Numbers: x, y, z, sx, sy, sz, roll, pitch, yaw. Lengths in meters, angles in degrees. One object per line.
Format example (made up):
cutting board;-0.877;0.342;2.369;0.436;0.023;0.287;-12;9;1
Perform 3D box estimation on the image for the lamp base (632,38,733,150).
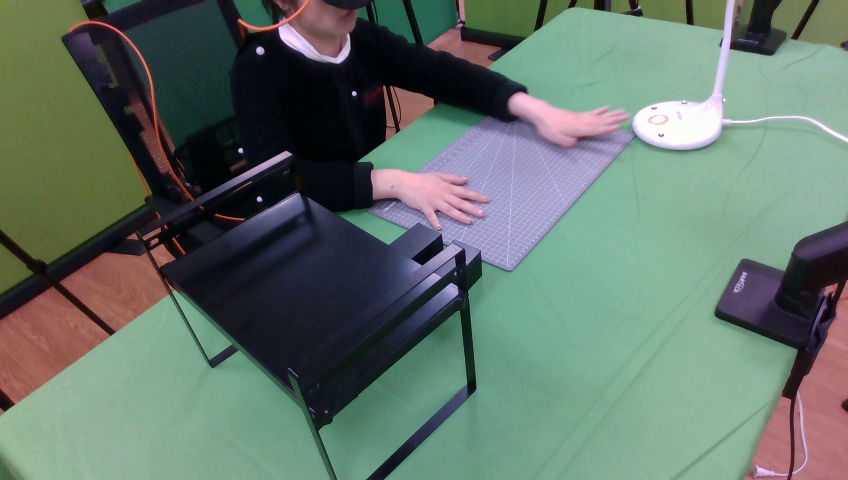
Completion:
lamp base;0.486;-0.280;1.108;0.179;0.181;0.159;-5;41;-1
